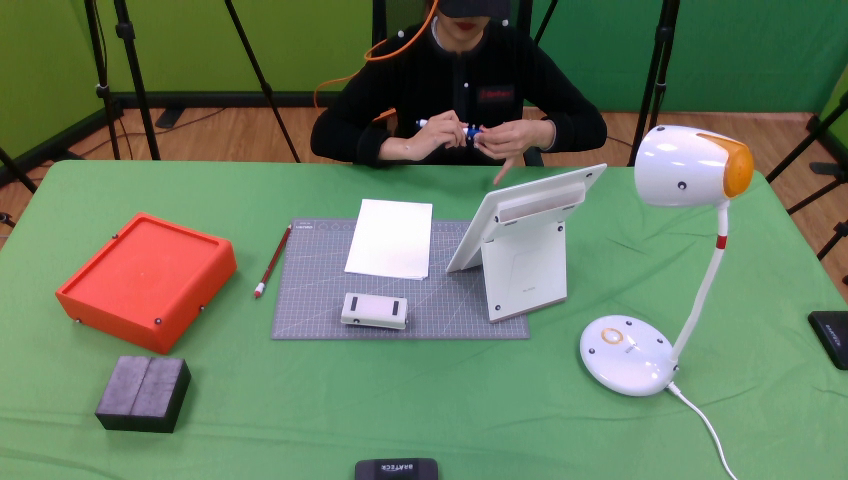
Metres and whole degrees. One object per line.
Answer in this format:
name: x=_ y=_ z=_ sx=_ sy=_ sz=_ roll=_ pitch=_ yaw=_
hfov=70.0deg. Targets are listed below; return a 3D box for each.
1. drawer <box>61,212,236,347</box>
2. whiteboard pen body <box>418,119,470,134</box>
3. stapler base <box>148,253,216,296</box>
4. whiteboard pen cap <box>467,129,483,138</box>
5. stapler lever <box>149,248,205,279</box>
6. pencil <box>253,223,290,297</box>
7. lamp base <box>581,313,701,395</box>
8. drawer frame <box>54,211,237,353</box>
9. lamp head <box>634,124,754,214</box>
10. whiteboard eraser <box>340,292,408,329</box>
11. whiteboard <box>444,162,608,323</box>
drawer: x=-0.473 y=0.064 z=1.060 sx=0.194 sy=0.073 sz=0.211 roll=18 pitch=48 yaw=12
whiteboard pen body: x=0.052 y=-0.242 z=1.305 sx=0.140 sy=0.017 sz=0.017 roll=13 pitch=46 yaw=19
stapler base: x=-0.443 y=0.059 z=1.109 sx=0.130 sy=0.024 sz=0.041 roll=24 pitch=51 yaw=11
whiteboard pen cap: x=0.108 y=-0.227 z=1.284 sx=0.033 sy=0.018 sz=0.018 roll=10 pitch=45 yaw=21
stapler lever: x=-0.443 y=0.037 z=1.083 sx=0.118 sy=0.040 sz=0.027 roll=19 pitch=50 yaw=17
pencil: x=-0.286 y=0.033 z=1.150 sx=0.012 sy=0.012 sz=0.193 roll=9 pitch=46 yaw=4
lamp base: x=0.361 y=0.144 z=0.973 sx=0.178 sy=0.181 sz=0.160 roll=34 pitch=53 yaw=23
drawer frame: x=-0.473 y=0.067 z=1.055 sx=0.201 sy=0.083 sz=0.212 roll=17 pitch=48 yaw=11
lamp head: x=0.351 y=-0.089 z=0.775 sx=0.112 sy=0.113 sz=0.122 roll=-30 pitch=30 yaw=-28
whiteboard eraser: x=-0.087 y=0.125 z=1.052 sx=0.113 sy=0.042 sz=0.055 roll=5 pitch=45 yaw=1
whiteboard: x=0.186 y=0.026 z=1.028 sx=0.217 sy=0.306 sz=0.143 roll=-14 pitch=68 yaw=-18
